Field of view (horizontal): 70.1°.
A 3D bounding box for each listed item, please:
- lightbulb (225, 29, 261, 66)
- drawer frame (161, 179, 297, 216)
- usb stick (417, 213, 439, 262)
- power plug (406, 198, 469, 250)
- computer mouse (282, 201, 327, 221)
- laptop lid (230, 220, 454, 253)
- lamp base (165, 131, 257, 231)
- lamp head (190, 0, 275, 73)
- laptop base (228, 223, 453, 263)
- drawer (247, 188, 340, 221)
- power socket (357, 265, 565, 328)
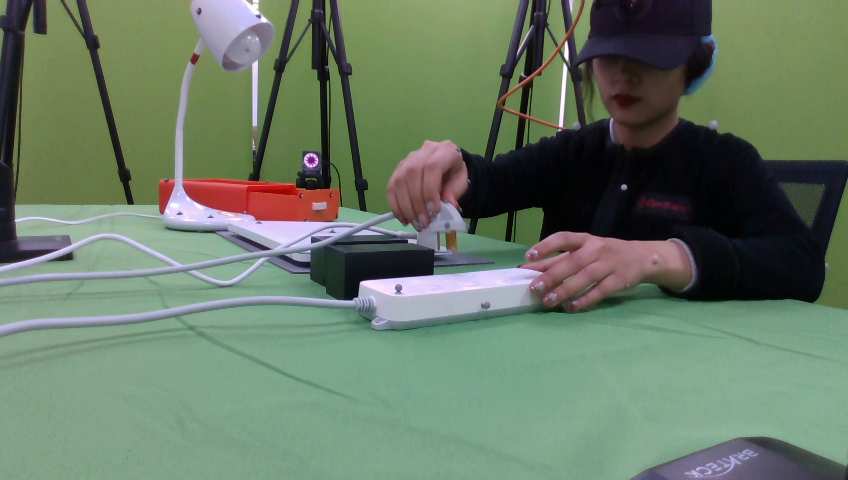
[{"bbox_3d":[-0.317,-0.336,1.001,0.107,0.059,0.059,46,15,5],"label":"lightbulb"},{"bbox_3d":[-0.421,-0.089,1.329,0.213,0.082,0.202,4,8,16],"label":"drawer frame"},{"bbox_3d":[0.005,-0.004,0.721,0.027,0.059,0.021,0,-4,-3],"label":"usb stick"},{"bbox_3d":[0.015,-0.013,0.595,0.035,0.052,0.072,0,-7,-29],"label":"power plug"},{"bbox_3d":[-0.254,-0.062,1.293,0.063,0.041,0.117,1,3,10],"label":"computer mouse"},{"bbox_3d":[-0.142,-0.009,0.942,0.243,0.013,0.355,1,7,-31],"label":"laptop lid"},{"bbox_3d":[-0.407,-0.112,1.119,0.179,0.180,0.161,-1,7,7],"label":"lamp base"},{"bbox_3d":[-0.331,-0.355,1.008,0.123,0.112,0.112,43,15,6],"label":"lamp head"},{"bbox_3d":[-0.145,0.003,0.943,0.237,0.023,0.352,1,6,-32],"label":"laptop base"},{"bbox_3d":[-0.314,-0.079,1.301,0.211,0.073,0.195,4,8,15],"label":"drawer"},{"bbox_3d":[0.041,0.049,0.573,0.228,0.032,0.072,-3,8,-34],"label":"power socket"}]
